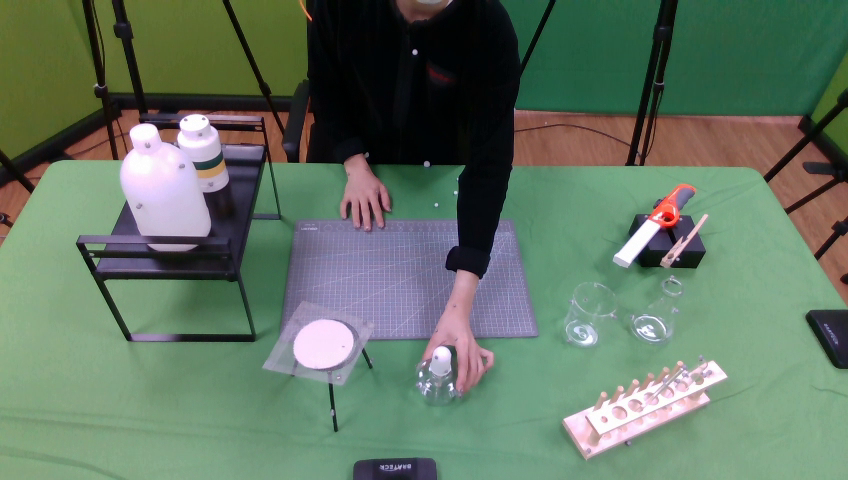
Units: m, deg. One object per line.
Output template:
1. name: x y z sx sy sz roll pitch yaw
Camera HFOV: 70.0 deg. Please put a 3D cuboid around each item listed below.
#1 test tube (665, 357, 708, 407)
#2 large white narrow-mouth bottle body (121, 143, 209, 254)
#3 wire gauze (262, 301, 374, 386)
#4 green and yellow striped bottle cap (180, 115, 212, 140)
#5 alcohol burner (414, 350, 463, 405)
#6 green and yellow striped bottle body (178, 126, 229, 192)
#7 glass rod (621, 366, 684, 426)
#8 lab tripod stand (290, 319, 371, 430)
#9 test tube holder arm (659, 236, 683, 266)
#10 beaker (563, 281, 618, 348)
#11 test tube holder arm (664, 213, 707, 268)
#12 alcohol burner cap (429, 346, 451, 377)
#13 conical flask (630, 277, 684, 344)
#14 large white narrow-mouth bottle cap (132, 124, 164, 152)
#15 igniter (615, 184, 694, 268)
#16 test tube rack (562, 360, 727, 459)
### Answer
1. test tube: 0.387 0.216 0.905 0.017 0.151 0.017 1 52 -1
2. large white narrow-mouth bottle body: -0.377 -0.077 0.875 0.102 0.195 0.101 3 45 -3
3. wire gauze: -0.150 0.148 0.873 0.121 0.011 0.124 14 46 12
4. green and yellow striped bottle cap: -0.358 -0.177 0.951 0.045 0.020 0.045 1 44 -1
5. alcohol burner: 0.023 0.205 0.939 0.078 0.120 0.077 1 48 -1
6. green and yellow striped bottle body: -0.361 -0.142 0.989 0.063 0.120 0.063 2 46 -2
7. glass rod: 0.322 0.227 0.866 0.008 0.200 0.008 6 51 -7
8. lab tripod stand: -0.146 0.194 0.923 0.148 0.132 0.147 1 47 -1
9. test tube holder arm: 0.472 0.020 1.149 0.010 0.015 0.088 35 54 27
10. beaker: 0.283 0.129 1.041 0.074 0.101 0.083 11 46 7
11. test tube holder arm: 0.507 -0.001 1.171 0.013 0.015 0.178 33 53 26
12. alcohol burner cap: 0.026 0.180 0.912 0.034 0.048 0.033 2 47 -1
13. conical flask: 0.408 0.117 1.045 0.075 0.122 0.075 2 46 -2
14. large white narrow-mouth bottle cap: -0.370 -0.138 0.813 0.038 0.024 0.037 3 45 -3
15. igniter: 0.459 -0.035 1.197 0.057 0.025 0.276 33 55 27
16. test tube rack: 0.341 0.247 0.940 0.243 0.085 0.066 -16 49 -18
